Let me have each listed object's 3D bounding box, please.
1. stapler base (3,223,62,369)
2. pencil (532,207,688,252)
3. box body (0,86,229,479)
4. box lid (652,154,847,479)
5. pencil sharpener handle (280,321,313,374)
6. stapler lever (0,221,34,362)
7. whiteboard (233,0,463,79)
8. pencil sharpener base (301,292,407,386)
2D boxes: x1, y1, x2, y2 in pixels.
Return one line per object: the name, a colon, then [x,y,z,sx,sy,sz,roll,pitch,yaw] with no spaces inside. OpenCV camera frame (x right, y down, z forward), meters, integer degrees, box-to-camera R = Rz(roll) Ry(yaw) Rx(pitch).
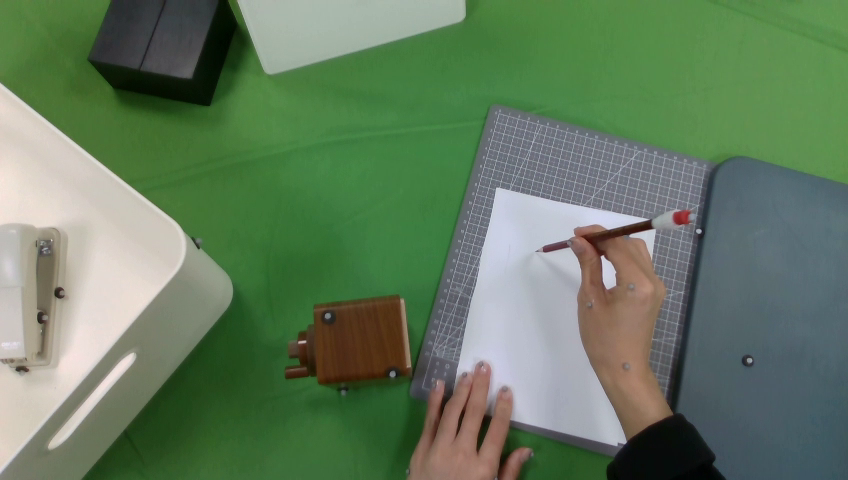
stapler base: [-0.348,0.046,0.532,0.041,0.024,0.130,-5,77,-1]
pencil: [0.135,-0.004,0.482,0.012,0.193,0.012,3,81,-19]
box body: [-0.372,0.012,0.475,0.363,0.161,0.253,36,77,7]
box lid: [0.362,0.111,0.556,0.263,0.015,0.370,16,75,1]
pencil sharpener handle: [-0.104,0.091,0.480,0.031,0.068,0.035,-6,59,-3]
stapler lever: [-0.347,0.041,0.507,0.027,0.040,0.117,-5,78,-1]
whiteboard: [-0.094,-0.335,0.537,0.217,0.308,0.142,-17,56,-6]
pencil sharpener base: [-0.054,0.084,0.497,0.077,0.107,0.061,-6,75,-3]
